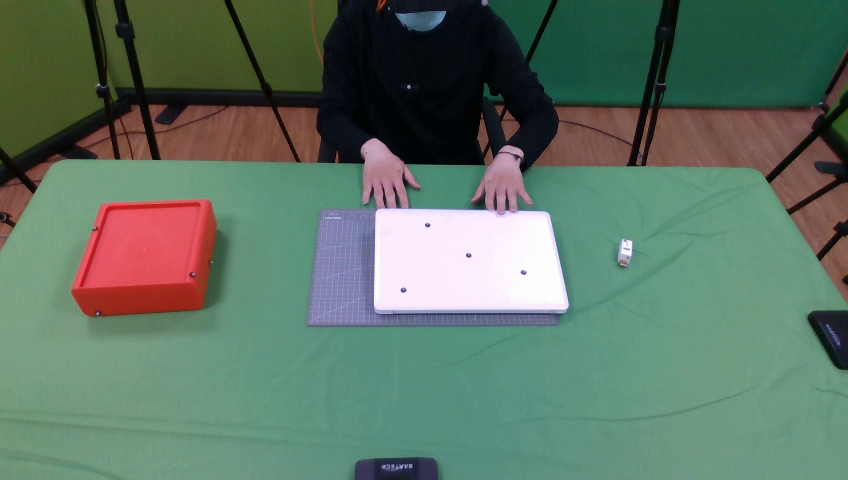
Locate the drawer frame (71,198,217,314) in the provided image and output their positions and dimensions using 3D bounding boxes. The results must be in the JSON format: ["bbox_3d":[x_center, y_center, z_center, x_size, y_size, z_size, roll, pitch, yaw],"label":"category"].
[{"bbox_3d":[-0.493,0.023,1.096,0.202,0.083,0.212,-3,47,-8],"label":"drawer frame"}]

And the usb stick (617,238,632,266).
[{"bbox_3d":[0.397,0.025,1.200,0.021,0.027,0.059,16,50,8],"label":"usb stick"}]

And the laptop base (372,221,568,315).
[{"bbox_3d":[0.080,0.049,1.159,0.355,0.023,0.234,0,43,-4],"label":"laptop base"}]

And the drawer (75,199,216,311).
[{"bbox_3d":[-0.494,0.023,1.098,0.195,0.073,0.210,-2,47,-8],"label":"drawer"}]

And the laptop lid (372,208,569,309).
[{"bbox_3d":[0.082,0.029,1.139,0.357,0.013,0.240,2,52,-3],"label":"laptop lid"}]
